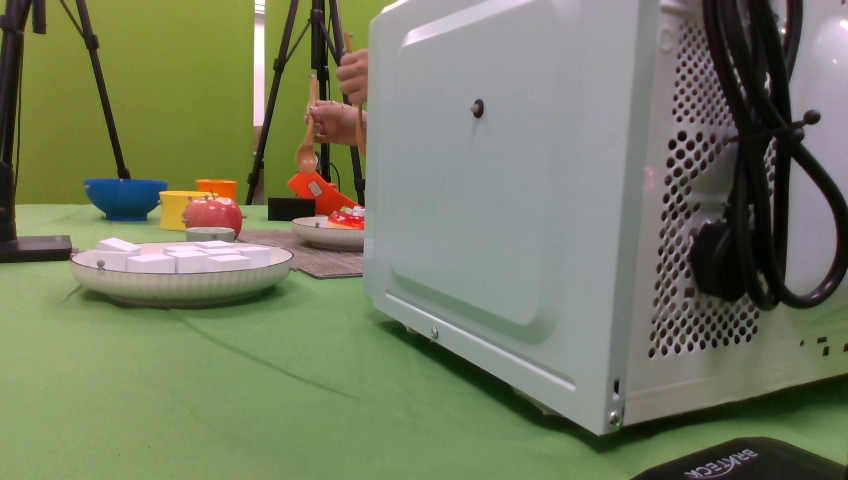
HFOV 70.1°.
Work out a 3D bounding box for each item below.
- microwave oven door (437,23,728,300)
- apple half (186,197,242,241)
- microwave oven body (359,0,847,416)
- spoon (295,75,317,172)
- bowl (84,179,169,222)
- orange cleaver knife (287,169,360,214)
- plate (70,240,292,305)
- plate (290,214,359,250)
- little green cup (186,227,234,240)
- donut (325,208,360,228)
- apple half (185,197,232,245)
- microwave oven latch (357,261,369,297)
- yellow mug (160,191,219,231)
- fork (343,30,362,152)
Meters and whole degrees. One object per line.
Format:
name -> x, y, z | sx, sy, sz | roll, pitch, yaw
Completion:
microwave oven door -> 0.181, -0.072, 0.621 | 0.358, 0.243, 0.039 | -2, 8, -29
apple half -> -0.307, -0.026, 0.905 | 0.053, 0.074, 0.081 | 14, 9, 37
microwave oven body -> 0.211, -0.047, 0.474 | 0.444, 0.260, 0.324 | -1, 7, -28
spoon -> -0.213, -0.219, 1.127 | 0.042, 0.193, 0.021 | 10, -11, -30
bowl -> -0.584, -0.078, 1.194 | 0.151, 0.077, 0.151 | 3, 8, 0
orange cleaver knife -> -0.211, -0.092, 1.382 | 0.212, 0.077, 0.012 | 34, 2, -15
plate -> -0.242, 0.031, 0.618 | 0.208, 0.039, 0.207 | 2, 7, 0
plate -> -0.110, -0.014, 0.973 | 0.209, 0.038, 0.209 | 3, 8, 0
little green cup -> -0.284, 0.005, 0.805 | 0.061, 0.038, 0.061 | 3, 8, 0
donut -> -0.110, -0.025, 0.974 | 0.099, 0.048, 0.099 | 5, 8, 0
apple half -> -0.337, -0.031, 0.928 | 0.032, 0.081, 0.082 | 13, 13, 37
microwave oven latch -> -0.019, 0.033, 0.531 | 0.079, 0.029, 0.030 | -1, 7, -27
yellow mug -> -0.416, -0.053, 1.103 | 0.130, 0.064, 0.100 | 7, 9, 27
fork -> -0.110, -0.234, 0.984 | 0.019, 0.207, 0.028 | -12, 15, -22
